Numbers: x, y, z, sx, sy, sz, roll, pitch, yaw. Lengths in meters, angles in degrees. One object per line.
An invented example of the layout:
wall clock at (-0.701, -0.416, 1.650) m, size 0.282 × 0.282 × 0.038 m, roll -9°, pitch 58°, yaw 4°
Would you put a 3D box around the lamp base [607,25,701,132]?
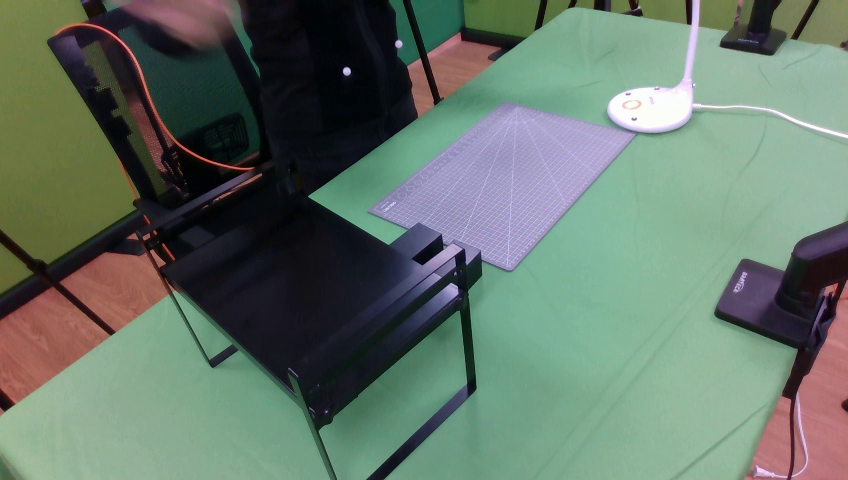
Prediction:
lamp base at (0.454, -0.321, 1.160) m, size 0.179 × 0.181 × 0.159 m, roll -6°, pitch 41°, yaw -2°
